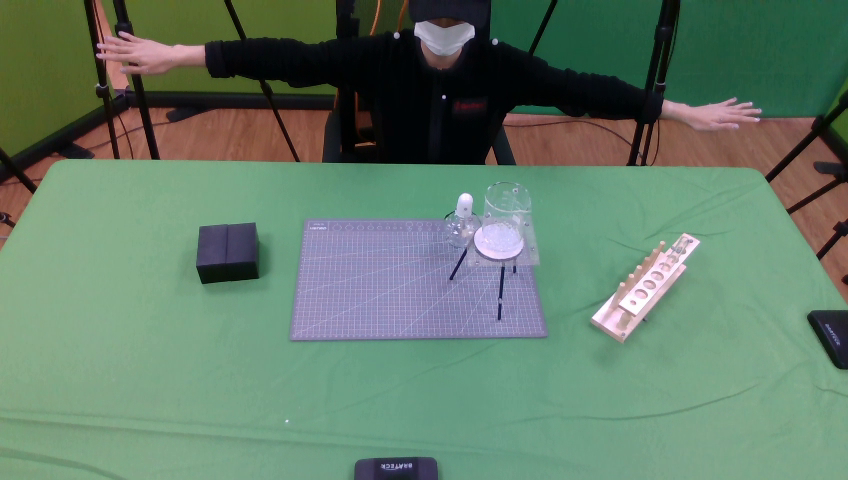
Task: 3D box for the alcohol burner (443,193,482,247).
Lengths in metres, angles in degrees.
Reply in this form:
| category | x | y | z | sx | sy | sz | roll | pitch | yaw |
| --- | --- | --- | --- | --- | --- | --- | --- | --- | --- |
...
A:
| category | x | y | z | sx | sy | sz | roll | pitch | yaw |
| --- | --- | --- | --- | --- | --- | --- | --- | --- | --- |
| alcohol burner | 0.075 | -0.044 | 1.177 | 0.078 | 0.120 | 0.077 | 1 | 45 | -1 |

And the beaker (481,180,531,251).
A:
| category | x | y | z | sx | sy | sz | roll | pitch | yaw |
| --- | --- | --- | --- | --- | --- | --- | --- | --- | --- |
| beaker | 0.135 | -0.036 | 1.001 | 0.083 | 0.101 | 0.074 | 30 | 53 | 24 |

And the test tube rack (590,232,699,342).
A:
| category | x | y | z | sx | sy | sz | roll | pitch | yaw |
| --- | --- | --- | --- | --- | --- | --- | --- | --- | --- |
| test tube rack | 0.407 | 0.074 | 1.112 | 0.066 | 0.085 | 0.242 | 35 | 53 | 26 |

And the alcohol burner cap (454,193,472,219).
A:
| category | x | y | z | sx | sy | sz | roll | pitch | yaw |
| --- | --- | --- | --- | --- | --- | --- | --- | --- | --- |
| alcohol burner cap | 0.076 | -0.068 | 1.151 | 0.034 | 0.048 | 0.033 | 4 | 46 | -4 |

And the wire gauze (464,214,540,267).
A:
| category | x | y | z | sx | sy | sz | roll | pitch | yaw |
| --- | --- | --- | --- | --- | --- | --- | --- | --- | --- |
| wire gauze | 0.131 | -0.001 | 1.035 | 0.121 | 0.011 | 0.124 | 1 | 44 | -3 |

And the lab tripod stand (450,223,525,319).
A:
| category | x | y | z | sx | sy | sz | roll | pitch | yaw |
| --- | --- | --- | --- | --- | --- | --- | --- | --- | --- |
| lab tripod stand | 0.120 | 0.046 | 1.080 | 0.148 | 0.132 | 0.147 | 1 | 47 | -1 |

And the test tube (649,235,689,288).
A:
| category | x | y | z | sx | sy | sz | roll | pitch | yaw |
| --- | --- | --- | --- | --- | --- | --- | --- | --- | --- |
| test tube | 0.432 | 0.043 | 1.073 | 0.017 | 0.151 | 0.017 | 3 | 51 | -3 |
